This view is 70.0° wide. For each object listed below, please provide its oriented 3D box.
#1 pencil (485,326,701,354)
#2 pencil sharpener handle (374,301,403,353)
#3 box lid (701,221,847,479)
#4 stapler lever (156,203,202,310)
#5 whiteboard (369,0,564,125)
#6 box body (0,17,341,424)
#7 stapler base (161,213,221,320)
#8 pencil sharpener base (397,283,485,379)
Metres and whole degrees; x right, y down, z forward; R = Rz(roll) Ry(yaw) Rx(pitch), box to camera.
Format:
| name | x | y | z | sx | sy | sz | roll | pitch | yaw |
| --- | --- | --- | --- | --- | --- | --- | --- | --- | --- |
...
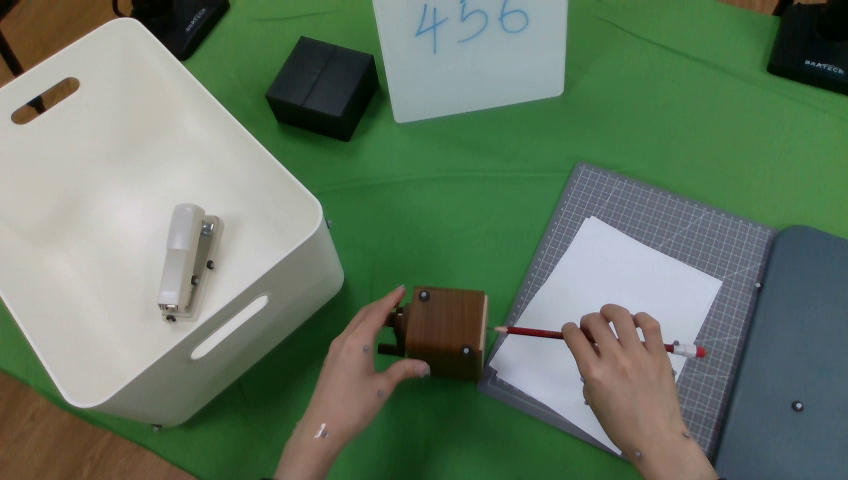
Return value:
| name | x | y | z | sx | sy | sz | roll | pitch | yaw |
| --- | --- | --- | --- | --- | --- | --- | --- | --- | --- |
| pencil | 0.152 | 0.088 | 0.545 | 0.194 | 0.012 | 0.012 | 5 | 64 | 1 |
| pencil sharpener handle | -0.034 | 0.085 | 0.577 | 0.030 | 0.068 | 0.035 | 5 | 44 | 7 |
| box lid | 0.426 | 0.169 | 0.572 | 0.262 | 0.015 | 0.370 | 22 | 68 | 13 |
| stapler lever | -0.264 | 0.015 | 0.652 | 0.027 | 0.040 | 0.117 | 2 | 67 | 8 |
| whiteboard | 0.041 | -0.318 | 0.703 | 0.217 | 0.308 | 0.142 | -9 | 45 | 0 |
| box body | -0.289 | -0.022 | 0.629 | 0.254 | 0.161 | 0.361 | -41 | 69 | -15 |
| stapler base | -0.262 | 0.024 | 0.676 | 0.041 | 0.024 | 0.129 | 2 | 67 | 7 |
| pencil sharpener base | 0.018 | 0.090 | 0.585 | 0.076 | 0.108 | 0.061 | 5 | 65 | 7 |
